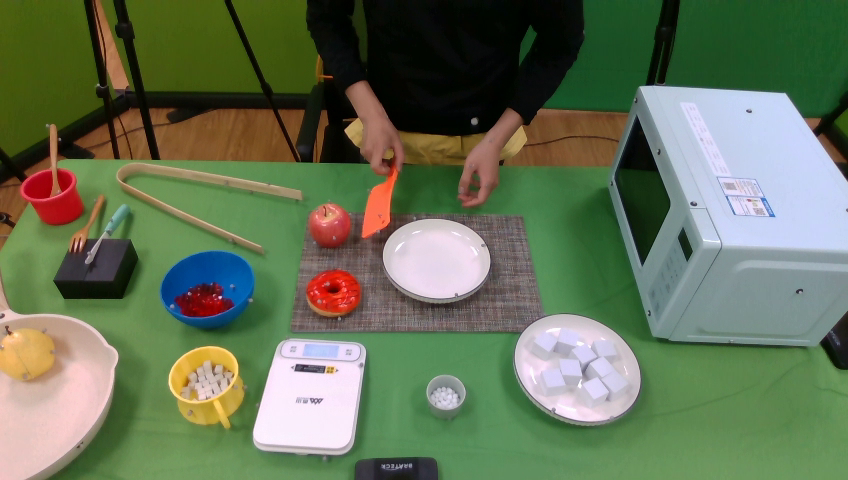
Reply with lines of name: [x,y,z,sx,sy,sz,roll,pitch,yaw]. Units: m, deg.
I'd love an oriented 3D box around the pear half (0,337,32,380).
pear half: [-0.631,0.184,0.921,0.070,0.088,0.031,29,49,19]

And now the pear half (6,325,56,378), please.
pear half: [-0.608,0.158,0.935,0.076,0.110,0.056,31,51,20]

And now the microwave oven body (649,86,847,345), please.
microwave oven body: [0.567,-0.053,1.118,0.326,0.261,0.439,2,45,-1]

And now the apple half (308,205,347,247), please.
apple half: [-0.193,-0.021,1.164,0.080,0.075,0.053,37,58,23]

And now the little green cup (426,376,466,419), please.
little green cup: [0.033,0.248,0.950,0.061,0.039,0.061,2,46,-2]

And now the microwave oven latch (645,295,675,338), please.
microwave oven latch: [0.411,0.134,1.061,0.030,0.029,0.078,3,45,0]

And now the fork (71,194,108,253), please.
fork: [-0.634,-0.036,1.158,0.028,0.019,0.206,-8,32,-8]

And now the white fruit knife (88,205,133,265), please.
white fruit knife: [-0.584,-0.013,1.129,0.016,0.027,0.206,-1,32,-5]

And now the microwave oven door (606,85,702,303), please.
microwave oven door: [0.422,-0.094,1.140,0.039,0.245,0.353,2,46,-1]

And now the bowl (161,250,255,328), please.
bowl: [-0.362,0.098,1.039,0.151,0.077,0.150,2,45,-2]

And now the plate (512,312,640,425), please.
plate: [0.246,0.213,0.999,0.208,0.039,0.206,2,46,-2]

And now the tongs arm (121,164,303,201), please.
tongs arm: [-0.444,-0.114,1.267,0.384,0.026,0.050,12,50,8]

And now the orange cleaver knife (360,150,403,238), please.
orange cleaver knife: [-0.084,-0.094,1.212,0.077,0.012,0.210,-14,49,33]

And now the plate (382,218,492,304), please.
plate: [0.023,0.042,1.143,0.209,0.038,0.208,2,46,-2]

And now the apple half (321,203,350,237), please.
apple half: [-0.166,-0.041,1.183,0.081,0.082,0.033,35,57,27]

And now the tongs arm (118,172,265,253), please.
tongs arm: [-0.473,-0.054,1.211,0.386,0.028,0.028,23,56,18]

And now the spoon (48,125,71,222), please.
spoon: [-0.718,-0.131,1.188,0.041,0.021,0.193,-4,90,-6]

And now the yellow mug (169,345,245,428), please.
yellow mug: [-0.322,0.230,0.922,0.100,0.064,0.130,-24,53,-25]

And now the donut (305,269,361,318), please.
donut: [-0.160,0.094,1.075,0.099,0.048,0.098,4,45,-3]

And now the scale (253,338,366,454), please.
scale: [-0.175,0.236,0.951,0.149,0.032,0.199,5,45,-1]

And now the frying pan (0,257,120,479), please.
frying pan: [-0.647,0.164,0.936,0.307,0.103,0.485,-19,58,-22]
